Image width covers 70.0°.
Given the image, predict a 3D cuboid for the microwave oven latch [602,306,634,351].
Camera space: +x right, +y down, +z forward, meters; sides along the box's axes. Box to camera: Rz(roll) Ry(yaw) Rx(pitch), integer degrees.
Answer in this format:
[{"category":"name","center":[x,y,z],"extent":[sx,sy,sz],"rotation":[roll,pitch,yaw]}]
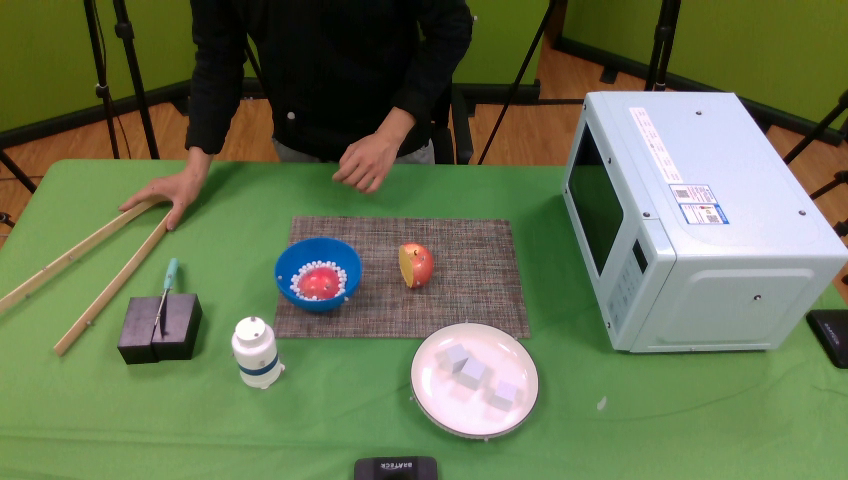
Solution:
[{"category":"microwave oven latch","center":[0.332,0.153,1.044],"extent":[0.030,0.029,0.078],"rotation":[-1,45,-4]}]

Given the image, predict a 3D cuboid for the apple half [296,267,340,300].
[{"category":"apple half","center":[-0.186,0.071,1.067],"extent":[0.081,0.033,0.081],"rotation":[2,47,-2]}]

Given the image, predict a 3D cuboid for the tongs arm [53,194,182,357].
[{"category":"tongs arm","center":[-0.544,0.050,1.106],"extent":[0.028,0.028,0.385],"rotation":[12,47,10]}]

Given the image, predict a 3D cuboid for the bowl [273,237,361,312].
[{"category":"bowl","center":[-0.186,0.074,1.069],"extent":[0.151,0.077,0.150],"rotation":[3,46,-3]}]

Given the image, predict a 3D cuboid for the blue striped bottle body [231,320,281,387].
[{"category":"blue striped bottle body","center":[-0.262,0.171,0.944],"extent":[0.063,0.121,0.062],"rotation":[2,46,-2]}]

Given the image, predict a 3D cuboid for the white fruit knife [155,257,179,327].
[{"category":"white fruit knife","center":[-0.440,0.085,1.037],"extent":[0.016,0.027,0.206],"rotation":[10,26,-19]}]

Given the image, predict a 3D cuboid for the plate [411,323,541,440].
[{"category":"plate","center":[0.082,0.228,0.976],"extent":[0.208,0.039,0.206],"rotation":[2,45,-2]}]

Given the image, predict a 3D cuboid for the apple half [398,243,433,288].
[{"category":"apple half","center":[-0.012,0.046,1.115],"extent":[0.053,0.075,0.080],"rotation":[-11,44,-19]}]

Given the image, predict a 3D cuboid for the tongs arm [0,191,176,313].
[{"category":"tongs arm","center":[-0.618,0.020,1.122],"extent":[0.050,0.026,0.384],"rotation":[24,49,16]}]

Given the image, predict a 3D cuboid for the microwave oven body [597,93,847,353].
[{"category":"microwave oven body","center":[0.475,-0.041,1.109],"extent":[0.326,0.261,0.438],"rotation":[-1,45,-4]}]

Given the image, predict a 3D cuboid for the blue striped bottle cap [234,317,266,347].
[{"category":"blue striped bottle cap","center":[-0.260,0.137,0.906],"extent":[0.044,0.021,0.044],"rotation":[4,42,-4]}]

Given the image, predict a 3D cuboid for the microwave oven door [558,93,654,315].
[{"category":"microwave oven door","center":[0.327,-0.074,1.123],"extent":[0.039,0.245,0.353],"rotation":[-1,46,-5]}]
